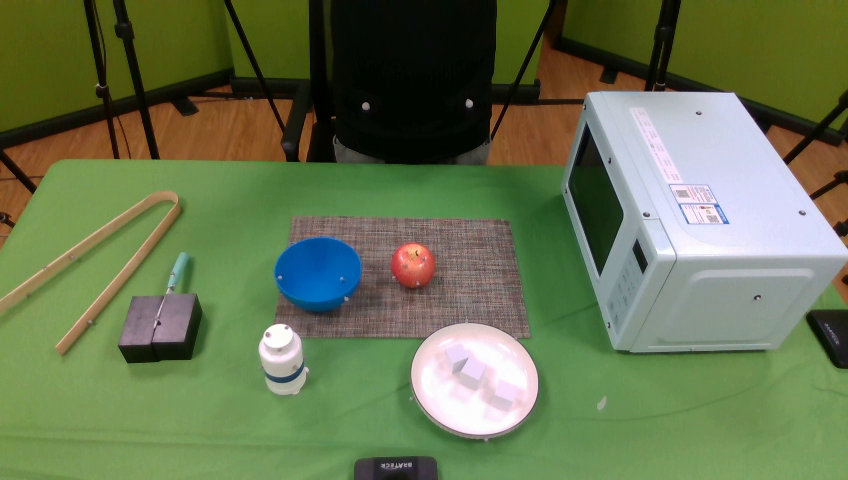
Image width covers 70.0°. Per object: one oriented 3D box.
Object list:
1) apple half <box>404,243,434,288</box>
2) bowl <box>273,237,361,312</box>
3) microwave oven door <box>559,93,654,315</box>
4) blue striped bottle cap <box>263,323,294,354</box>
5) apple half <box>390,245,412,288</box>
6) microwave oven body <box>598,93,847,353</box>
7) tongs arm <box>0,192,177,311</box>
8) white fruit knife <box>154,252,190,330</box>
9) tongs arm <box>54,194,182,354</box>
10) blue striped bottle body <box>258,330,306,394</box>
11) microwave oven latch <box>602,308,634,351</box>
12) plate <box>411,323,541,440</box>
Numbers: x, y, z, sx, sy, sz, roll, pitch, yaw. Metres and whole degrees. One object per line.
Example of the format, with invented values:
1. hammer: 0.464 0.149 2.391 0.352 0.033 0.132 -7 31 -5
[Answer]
1. apple half: -0.010 0.048 1.114 0.053 0.075 0.080 -6 43 -17
2. bowl: -0.186 0.075 1.069 0.151 0.077 0.150 3 46 -3
3. microwave oven door: 0.327 -0.074 1.123 0.039 0.245 0.353 -1 46 -5
4. blue striped bottle cap: -0.217 0.146 0.900 0.044 0.021 0.044 1 46 -1
5. apple half: -0.046 0.053 1.105 0.033 0.081 0.080 -8 47 -16
6. microwave oven body: 0.475 -0.041 1.110 0.326 0.261 0.438 -1 45 -4
7. tongs arm: -0.618 0.019 1.123 0.050 0.026 0.384 24 47 17
8. white fruit knife: -0.438 0.083 1.053 0.016 0.027 0.206 -2 35 -5
9. tongs arm: -0.543 0.048 1.107 0.028 0.028 0.385 11 46 10
10. blue striped bottle body: -0.220 0.182 0.937 0.063 0.121 0.062 2 46 -2
11. microwave oven latch: 0.332 0.153 1.044 0.030 0.029 0.078 -1 45 -4
12. plate: 0.082 0.228 0.976 0.208 0.039 0.206 2 45 -2
